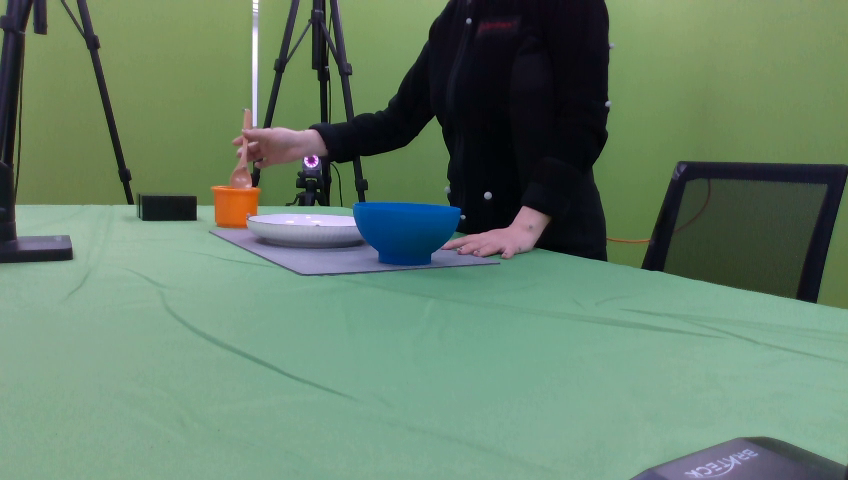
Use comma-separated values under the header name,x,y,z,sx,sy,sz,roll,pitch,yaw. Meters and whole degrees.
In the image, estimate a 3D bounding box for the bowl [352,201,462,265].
name,x,y,z,sx,sy,sz,roll,pitch,yaw
bowl,-0.025,-0.009,0.830,0.151,0.077,0.151,3,7,0

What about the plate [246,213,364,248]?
name,x,y,z,sx,sy,sz,roll,pitch,yaw
plate,-0.185,-0.017,0.994,0.209,0.038,0.209,3,8,0

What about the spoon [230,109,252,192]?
name,x,y,z,sx,sy,sz,roll,pitch,yaw
spoon,-0.353,-0.179,1.195,0.042,0.193,0.021,8,-23,-20
